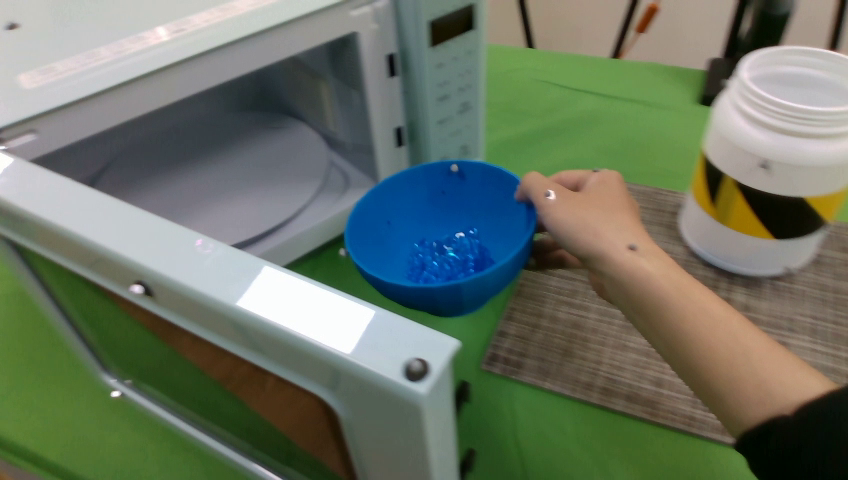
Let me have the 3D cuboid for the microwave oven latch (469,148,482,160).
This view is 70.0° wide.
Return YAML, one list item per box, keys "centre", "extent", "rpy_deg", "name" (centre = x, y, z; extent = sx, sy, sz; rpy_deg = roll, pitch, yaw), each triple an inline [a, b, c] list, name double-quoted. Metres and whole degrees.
- centre: [0.030, -0.080, 0.686]
  extent: [0.079, 0.030, 0.030]
  rpy_deg: [-31, 50, -23]
  name: "microwave oven latch"

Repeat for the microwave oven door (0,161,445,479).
- centre: [-0.135, 0.082, 0.385]
  extent: [0.353, 0.246, 0.039]
  rpy_deg: [19, 49, 24]
  name: "microwave oven door"

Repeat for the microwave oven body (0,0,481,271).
- centre: [-0.208, -0.137, 0.630]
  extent: [0.442, 0.263, 0.322]
  rpy_deg: [-33, 50, -24]
  name: "microwave oven body"

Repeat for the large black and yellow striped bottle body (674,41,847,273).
- centre: [0.318, -0.074, 0.563]
  extent: [0.131, 0.186, 0.129]
  rpy_deg: [-3, 44, 3]
  name: "large black and yellow striped bottle body"

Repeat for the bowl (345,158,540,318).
- centre: [0.019, 0.009, 0.487]
  extent: [0.151, 0.077, 0.150]
  rpy_deg: [-7, 42, 7]
  name: "bowl"
